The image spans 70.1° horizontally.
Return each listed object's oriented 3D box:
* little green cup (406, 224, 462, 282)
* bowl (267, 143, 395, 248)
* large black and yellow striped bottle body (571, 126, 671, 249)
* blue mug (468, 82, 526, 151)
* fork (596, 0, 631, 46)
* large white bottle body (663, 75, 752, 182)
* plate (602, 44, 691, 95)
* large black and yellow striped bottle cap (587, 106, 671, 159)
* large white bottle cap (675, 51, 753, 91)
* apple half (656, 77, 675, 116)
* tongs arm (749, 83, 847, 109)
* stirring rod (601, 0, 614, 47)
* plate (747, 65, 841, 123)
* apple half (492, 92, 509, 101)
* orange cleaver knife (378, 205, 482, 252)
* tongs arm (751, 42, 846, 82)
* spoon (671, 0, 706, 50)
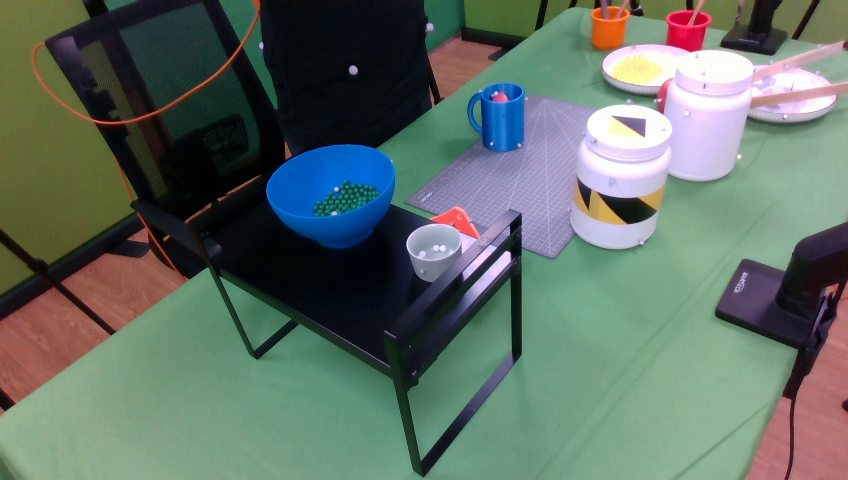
[{"bbox_3d":[0.012,0.015,0.668,0.061,0.039,0.061,-4,40,4],"label":"little green cup"},{"bbox_3d":[-0.104,-0.043,0.726,0.151,0.077,0.150,-4,40,4],"label":"bowl"},{"bbox_3d":[0.296,-0.093,0.915,0.131,0.185,0.130,-3,42,3],"label":"large black and yellow striped bottle body"},{"bbox_3d":[0.139,-0.242,1.170,0.116,0.106,0.082,14,45,24],"label":"blue mug"},{"bbox_3d":[0.481,-0.556,1.453,0.028,0.019,0.207,40,103,38],"label":"fork"},{"bbox_3d":[0.472,-0.207,1.022,0.130,0.185,0.130,-4,41,4],"label":"large white bottle body"},{"bbox_3d":[0.494,-0.367,1.317,0.209,0.038,0.208,-4,40,4],"label":"plate"},{"bbox_3d":[0.290,-0.154,0.858,0.115,0.019,0.114,-4,42,4],"label":"large black and yellow striped bottle cap"},{"bbox_3d":[0.463,-0.271,0.967,0.115,0.018,0.114,-4,40,3],"label":"large white bottle cap"},{"bbox_3d":[0.488,-0.281,1.192,0.053,0.075,0.081,24,53,37],"label":"apple half"},{"bbox_3d":[0.734,-0.280,1.133,0.388,0.028,0.028,-9,47,-5],"label":"tongs arm"},{"bbox_3d":[0.440,-0.552,1.463,0.014,0.006,0.175,-7,83,4],"label":"stirring rod"},{"bbox_3d":[0.695,-0.282,1.189,0.207,0.039,0.206,-4,40,4],"label":"plate"},{"bbox_3d":[0.143,-0.240,1.159,0.033,0.081,0.080,-11,40,-13],"label":"apple half"},{"bbox_3d":[0.005,-0.010,0.943,0.210,0.077,0.012,-5,22,47],"label":"orange cleaver knife"},{"bbox_3d":[0.708,-0.331,1.194,0.386,0.026,0.050,-18,45,-16],"label":"tongs arm"},{"bbox_3d":[0.629,-0.520,1.394,0.041,0.022,0.193,30,96,34],"label":"spoon"}]
